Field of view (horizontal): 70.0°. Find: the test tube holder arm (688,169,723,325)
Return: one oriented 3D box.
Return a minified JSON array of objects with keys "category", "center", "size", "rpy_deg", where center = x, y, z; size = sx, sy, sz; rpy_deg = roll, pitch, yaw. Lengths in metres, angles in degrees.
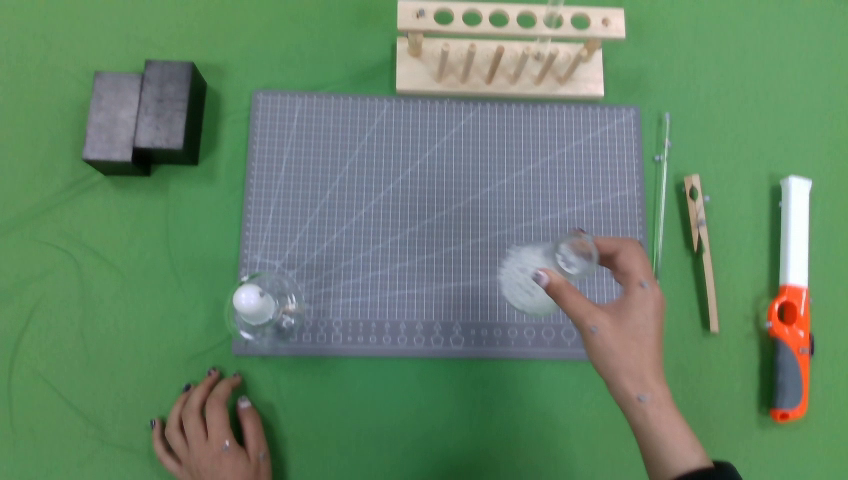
[{"category":"test tube holder arm","center":[0.314,0.007,0.678],"size":[0.013,0.015,0.177],"rpy_deg":[-14,77,31]}]

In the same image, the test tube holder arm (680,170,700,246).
[{"category":"test tube holder arm","center":[0.304,-0.036,0.689],"size":[0.010,0.015,0.087],"rpy_deg":[-12,78,31]}]

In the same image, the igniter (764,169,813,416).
[{"category":"igniter","center":[0.405,0.055,0.671],"size":[0.057,0.025,0.275],"rpy_deg":[11,78,-11]}]

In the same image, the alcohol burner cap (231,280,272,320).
[{"category":"alcohol burner cap","center":[-0.159,0.053,0.553],"size":[0.034,0.048,0.033],"rpy_deg":[1,70,-3]}]

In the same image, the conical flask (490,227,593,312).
[{"category":"conical flask","center":[0.106,0.021,0.527],"size":[0.075,0.122,0.075],"rpy_deg":[1,78,-7]}]

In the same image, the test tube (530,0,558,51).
[{"category":"test tube","center":[0.129,-0.243,0.633],"size":[0.017,0.151,0.017],"rpy_deg":[0,76,1]}]

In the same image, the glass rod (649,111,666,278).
[{"category":"glass rod","center":[0.268,-0.054,0.693],"size":[0.008,0.008,0.199],"rpy_deg":[8,81,-2]}]

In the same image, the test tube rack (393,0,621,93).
[{"category":"test tube rack","center":[0.087,-0.216,0.675],"size":[0.242,0.085,0.066],"rpy_deg":[1,79,-3]}]

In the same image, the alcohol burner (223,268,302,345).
[{"category":"alcohol burner","center":[-0.161,0.062,0.588],"size":[0.078,0.119,0.077],"rpy_deg":[0,77,-1]}]
